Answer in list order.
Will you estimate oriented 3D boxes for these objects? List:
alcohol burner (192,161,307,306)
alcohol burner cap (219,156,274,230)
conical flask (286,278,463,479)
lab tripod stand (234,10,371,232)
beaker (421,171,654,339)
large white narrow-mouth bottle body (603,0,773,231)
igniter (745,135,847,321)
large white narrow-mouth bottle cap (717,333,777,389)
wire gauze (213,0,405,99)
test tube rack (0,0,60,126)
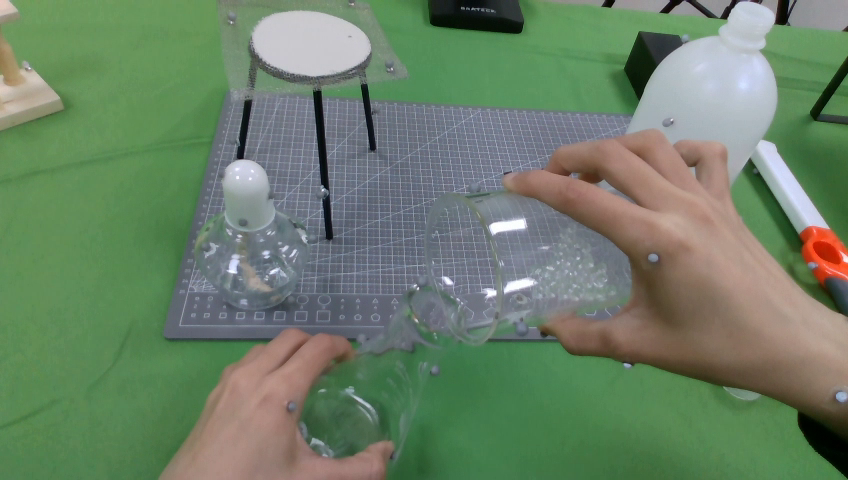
[{"bbox_3d":[-0.120,-0.009,0.417,0.078,0.120,0.077,6,46,-6],"label":"alcohol burner"},{"bbox_3d":[-0.115,-0.032,0.390,0.034,0.048,0.033,4,53,-5],"label":"alcohol burner cap"},{"bbox_3d":[-0.024,0.076,0.346,0.076,0.122,0.074,24,34,-17],"label":"conical flask"},{"bbox_3d":[-0.091,-0.101,0.492,0.149,0.132,0.147,6,48,-6],"label":"lab tripod stand"},{"bbox_3d":[0.058,0.005,0.311,0.100,0.084,0.073,-10,57,-24],"label":"beaker"},{"bbox_3d":[0.226,-0.105,0.507,0.102,0.196,0.101,4,47,-4],"label":"large white narrow-mouth bottle body"},{"bbox_3d":[0.359,-0.004,0.556,0.057,0.025,0.273,10,46,-15],"label":"igniter"},{"bbox_3d":[0.242,0.091,0.455,0.038,0.024,0.037,4,47,-4],"label":"large white narrow-mouth bottle cap"},{"bbox_3d":[-0.087,-0.148,0.444,0.122,0.011,0.123,-9,52,-17],"label":"wire gauze"},{"bbox_3d":[-0.443,-0.117,0.484,0.242,0.086,0.066,-33,61,-33],"label":"test tube rack"}]
